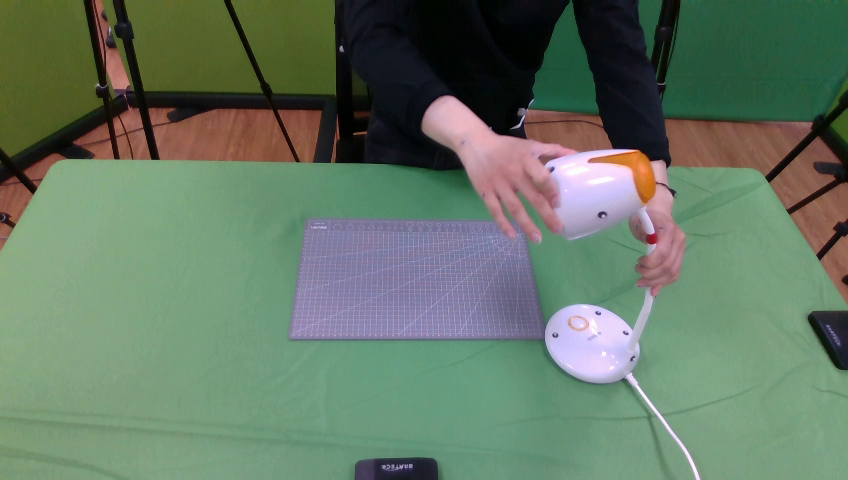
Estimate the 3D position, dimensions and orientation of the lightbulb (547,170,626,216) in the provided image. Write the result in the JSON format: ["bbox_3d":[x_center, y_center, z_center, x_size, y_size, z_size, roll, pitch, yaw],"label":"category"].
[{"bbox_3d":[0.208,-0.065,0.780,0.107,0.060,0.059,-12,30,44],"label":"lightbulb"}]

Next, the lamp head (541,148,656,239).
[{"bbox_3d":[0.227,-0.063,0.763,0.122,0.113,0.112,-11,35,37],"label":"lamp head"}]

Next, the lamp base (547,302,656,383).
[{"bbox_3d":[0.304,0.127,0.982,0.160,0.181,0.178,-33,59,-29],"label":"lamp base"}]
